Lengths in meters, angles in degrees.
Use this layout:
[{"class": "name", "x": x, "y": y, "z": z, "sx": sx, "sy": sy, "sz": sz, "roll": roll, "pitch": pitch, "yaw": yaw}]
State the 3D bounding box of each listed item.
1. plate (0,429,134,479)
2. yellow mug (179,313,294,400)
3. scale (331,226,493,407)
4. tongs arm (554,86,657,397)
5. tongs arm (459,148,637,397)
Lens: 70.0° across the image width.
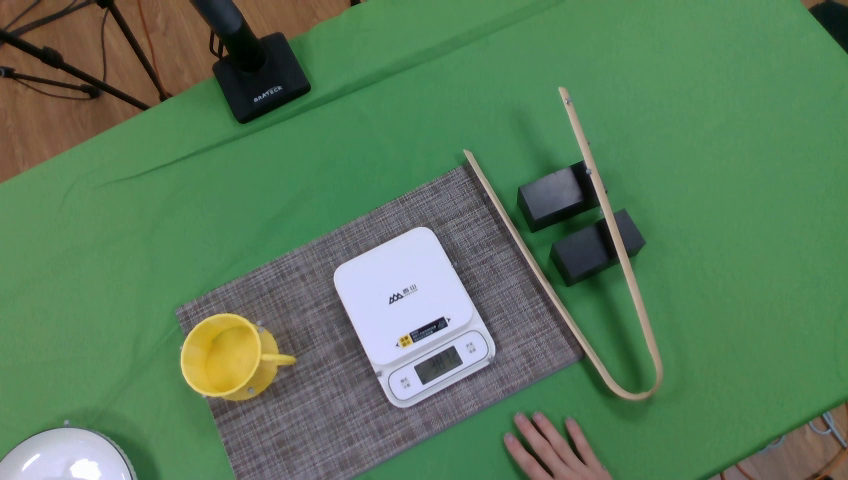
[{"class": "plate", "x": -0.445, "y": 0.337, "z": 0.736, "sx": 0.207, "sy": 0.039, "sz": 0.206, "roll": -2, "pitch": 72, "yaw": 5}, {"class": "yellow mug", "x": -0.227, "y": 0.147, "z": 0.754, "sx": 0.131, "sy": 0.064, "sz": 0.099, "roll": 1, "pitch": 72, "yaw": 5}, {"class": "scale", "x": -0.018, "y": 0.092, "z": 0.767, "sx": 0.149, "sy": 0.032, "sz": 0.199, "roll": -28, "pitch": 72, "yaw": -3}, {"class": "tongs arm", "x": 0.209, "y": -0.005, "z": 0.734, "sx": 0.050, "sy": 0.027, "sz": 0.383, "roll": -24, "pitch": 77, "yaw": 27}, {"class": "tongs arm", "x": 0.146, "y": 0.031, "z": 0.772, "sx": 0.028, "sy": 0.028, "sz": 0.384, "roll": -37, "pitch": 70, "yaw": 20}]
